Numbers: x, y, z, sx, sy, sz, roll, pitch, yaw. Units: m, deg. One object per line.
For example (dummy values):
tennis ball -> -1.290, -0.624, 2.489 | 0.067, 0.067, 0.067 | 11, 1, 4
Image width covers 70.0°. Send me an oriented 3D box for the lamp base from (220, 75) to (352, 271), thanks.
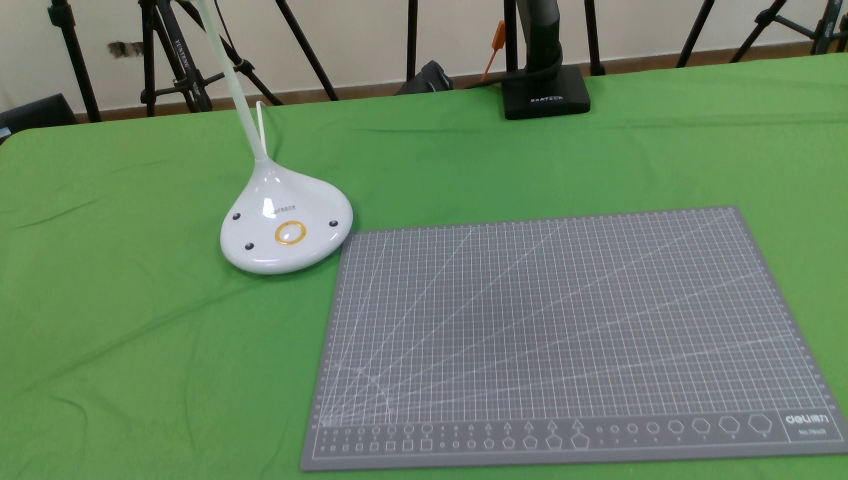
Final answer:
lamp base -> -0.182, -0.084, 0.690 | 0.161, 0.182, 0.177 | -25, 42, -16
